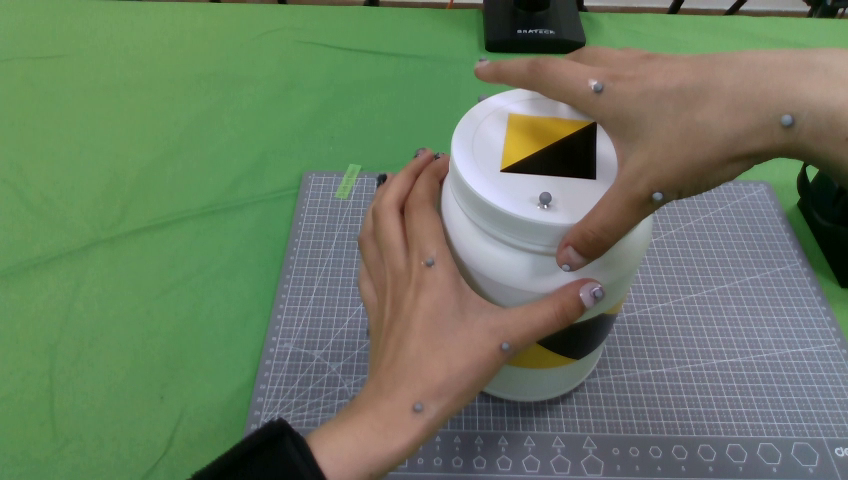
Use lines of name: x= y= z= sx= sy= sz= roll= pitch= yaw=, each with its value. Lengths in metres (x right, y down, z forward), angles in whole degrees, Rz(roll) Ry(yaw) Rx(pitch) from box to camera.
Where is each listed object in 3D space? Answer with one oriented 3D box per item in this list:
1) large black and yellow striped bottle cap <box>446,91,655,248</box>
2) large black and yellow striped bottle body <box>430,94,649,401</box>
large black and yellow striped bottle cap: x=0.069 y=-0.044 z=0.338 sx=0.115 sy=0.019 sz=0.114 roll=1 pitch=48 yaw=0
large black and yellow striped bottle body: x=0.070 y=0.010 z=0.403 sx=0.131 sy=0.185 sz=0.129 roll=0 pitch=50 yaw=0
